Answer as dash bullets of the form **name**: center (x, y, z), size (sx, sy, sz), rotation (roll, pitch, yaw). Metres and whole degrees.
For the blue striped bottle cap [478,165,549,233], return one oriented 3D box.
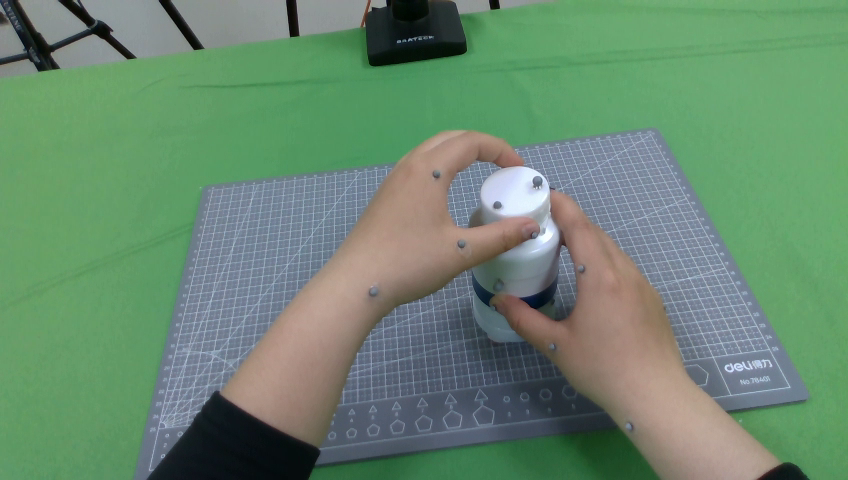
- **blue striped bottle cap**: center (0.056, -0.026, 0.379), size (0.044, 0.021, 0.044), rotation (-5, 50, 6)

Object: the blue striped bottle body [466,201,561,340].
- **blue striped bottle body**: center (0.062, 0.011, 0.421), size (0.063, 0.122, 0.062), rotation (-4, 47, 4)
